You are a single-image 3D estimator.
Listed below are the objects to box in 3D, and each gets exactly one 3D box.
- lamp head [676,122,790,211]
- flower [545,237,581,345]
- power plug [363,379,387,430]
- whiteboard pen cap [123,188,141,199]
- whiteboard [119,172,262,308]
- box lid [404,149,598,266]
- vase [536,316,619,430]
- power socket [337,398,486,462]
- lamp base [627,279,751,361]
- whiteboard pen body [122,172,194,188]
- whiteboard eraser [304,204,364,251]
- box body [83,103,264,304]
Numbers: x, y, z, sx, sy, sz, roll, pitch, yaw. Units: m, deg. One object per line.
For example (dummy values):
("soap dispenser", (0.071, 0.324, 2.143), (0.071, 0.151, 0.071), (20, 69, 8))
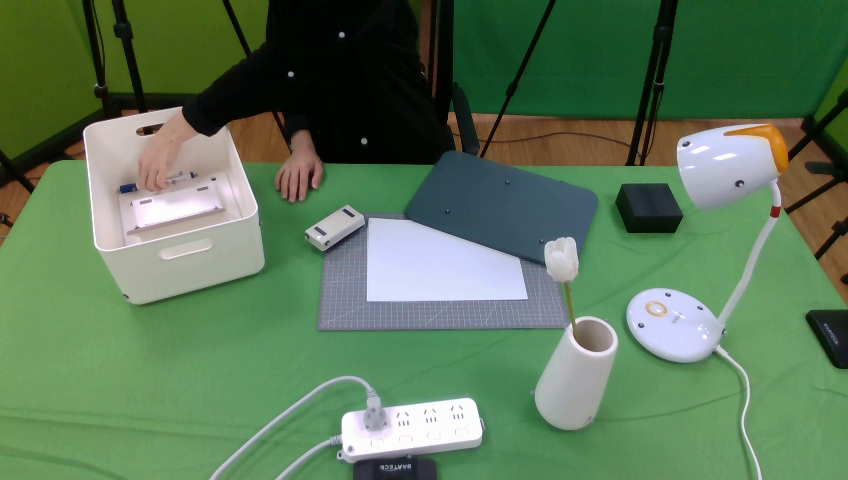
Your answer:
("lamp head", (0.423, -0.104, 0.819), (0.122, 0.113, 0.112), (-13, 33, 40))
("flower", (0.213, 0.137, 0.846), (0.038, 0.364, 0.044), (21, 55, 40))
("power plug", (-0.071, 0.252, 0.911), (0.035, 0.053, 0.072), (3, 40, 0))
("whiteboard pen cap", (-0.596, -0.094, 1.237), (0.033, 0.018, 0.018), (-14, 49, -17))
("whiteboard", (-0.464, -0.059, 1.137), (0.217, 0.144, 0.303), (-19, 51, -17))
("box lid", (0.171, -0.073, 1.289), (0.371, 0.015, 0.262), (19, 47, 14))
("vase", (0.229, 0.200, 0.901), (0.098, 0.201, 0.097), (3, 46, -3))
("power socket", (-0.018, 0.285, 0.914), (0.227, 0.033, 0.071), (-4, 46, -8))
("lamp base", (0.460, 0.100, 1.027), (0.178, 0.181, 0.160), (27, 51, 17))
("whiteboard pen body", (-0.555, -0.123, 1.267), (0.141, 0.017, 0.017), (-13, 49, -21))
("whiteboard eraser", (-0.175, -0.022, 1.187), (0.055, 0.042, 0.112), (36, 54, 25))
("box body", (-0.465, -0.077, 1.137), (0.254, 0.161, 0.361), (-16, 50, -19))
